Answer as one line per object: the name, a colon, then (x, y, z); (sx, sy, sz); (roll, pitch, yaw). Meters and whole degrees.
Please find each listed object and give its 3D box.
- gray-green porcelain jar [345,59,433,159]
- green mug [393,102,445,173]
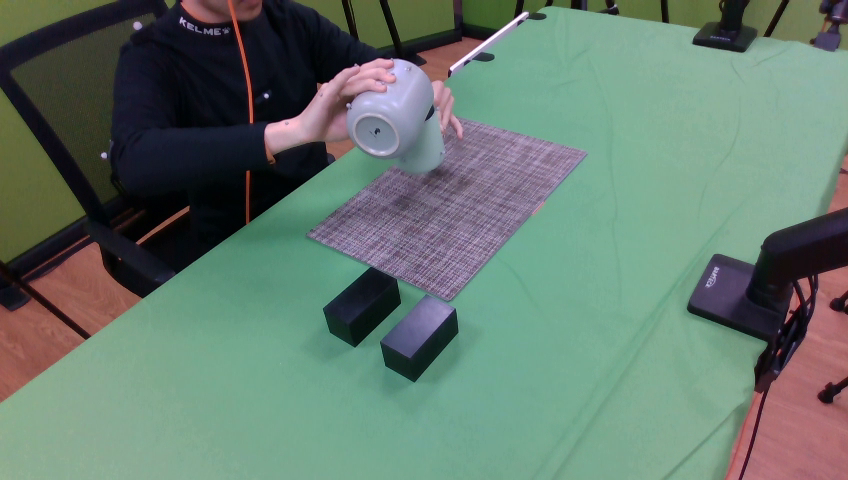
gray-green porcelain jar: (-0.053, -0.191, 0.895); (0.105, 0.106, 0.126); (6, 46, 16)
green mug: (-0.010, -0.188, 1.034); (0.092, 0.105, 0.125); (4, 48, 13)
